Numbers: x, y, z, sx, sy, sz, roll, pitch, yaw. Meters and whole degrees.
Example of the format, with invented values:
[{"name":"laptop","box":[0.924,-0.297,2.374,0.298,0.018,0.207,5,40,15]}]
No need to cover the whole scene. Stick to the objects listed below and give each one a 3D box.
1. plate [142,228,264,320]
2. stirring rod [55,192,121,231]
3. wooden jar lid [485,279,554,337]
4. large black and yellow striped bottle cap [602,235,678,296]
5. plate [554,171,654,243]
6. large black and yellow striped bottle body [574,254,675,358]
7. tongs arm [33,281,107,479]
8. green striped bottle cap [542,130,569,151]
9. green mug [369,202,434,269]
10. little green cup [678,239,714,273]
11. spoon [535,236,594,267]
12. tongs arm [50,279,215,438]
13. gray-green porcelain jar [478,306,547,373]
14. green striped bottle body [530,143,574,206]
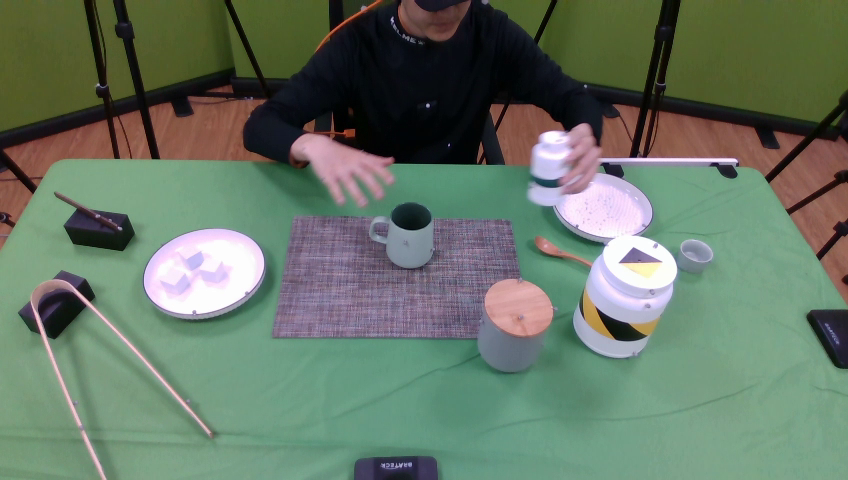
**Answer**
[{"name":"plate","box":[-0.394,0.064,1.095,0.208,0.039,0.206,2,46,-2]},{"name":"stirring rod","box":[-0.632,-0.055,1.138,0.175,0.014,0.006,24,50,19]},{"name":"wooden jar lid","box":[0.147,0.108,0.940,0.108,0.021,0.107,4,47,-4]},{"name":"large black and yellow striped bottle cap","box":[0.340,0.037,0.955,0.115,0.019,0.114,2,47,-2]},{"name":"plate","box":[0.374,-0.066,1.275,0.209,0.038,0.208,2,46,-2]},{"name":"large black and yellow striped bottle body","box":[0.335,0.096,1.014,0.131,0.185,0.130,2,46,-2]},{"name":"tongs arm","box":[-0.517,0.214,0.910,0.051,0.026,0.383,-28,63,-27]},{"name":"green striped bottle cap","box":[0.218,-0.165,1.005,0.044,0.020,0.044,0,36,1]},{"name":"green mug","box":[-0.042,-0.010,1.141,0.125,0.105,0.092,7,47,4]},{"name":"little green cup","box":[0.531,0.033,1.189,0.061,0.039,0.061,2,46,-2]},{"name":"spoon","box":[0.303,0.040,1.178,0.193,0.022,0.041,25,32,20]},{"name":"tongs arm","box":[-0.459,0.178,0.949,0.386,0.028,0.028,37,60,17]},{"name":"gray-green porcelain jar","box":[0.144,0.148,0.989,0.106,0.127,0.105,2,50,-2]},{"name":"green striped bottle body","box":[0.220,-0.123,1.038,0.063,0.120,0.063,1,36,0]}]
